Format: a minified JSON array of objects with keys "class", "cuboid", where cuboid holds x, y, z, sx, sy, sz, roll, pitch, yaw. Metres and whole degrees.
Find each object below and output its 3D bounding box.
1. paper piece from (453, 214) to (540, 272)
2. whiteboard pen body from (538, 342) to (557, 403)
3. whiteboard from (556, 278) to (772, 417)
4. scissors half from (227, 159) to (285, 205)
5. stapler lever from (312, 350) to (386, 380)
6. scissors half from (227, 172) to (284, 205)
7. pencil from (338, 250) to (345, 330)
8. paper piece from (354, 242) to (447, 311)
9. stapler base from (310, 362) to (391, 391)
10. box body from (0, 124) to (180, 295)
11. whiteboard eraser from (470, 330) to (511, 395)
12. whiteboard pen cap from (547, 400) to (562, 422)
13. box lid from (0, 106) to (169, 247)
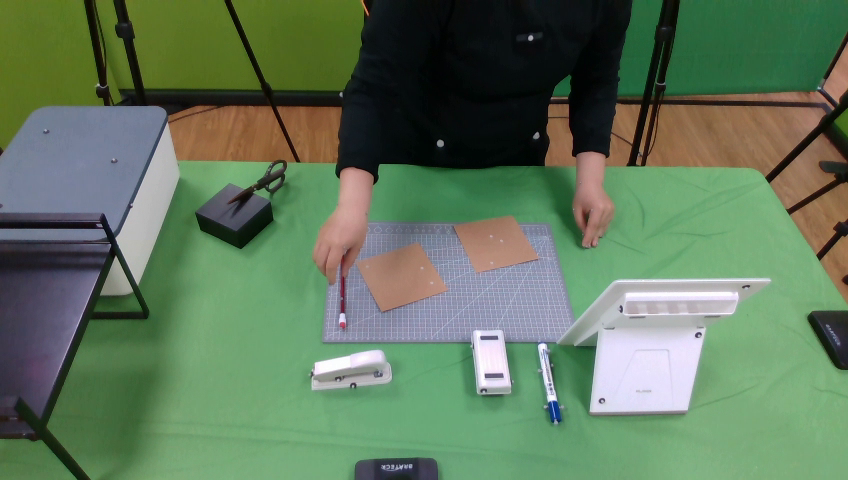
[{"class":"paper piece","cuboid":[0.142,0.003,1.213,0.135,0.004,0.135,-11,47,-14]},{"class":"whiteboard pen body","cuboid":[0.205,0.228,0.997,0.017,0.017,0.140,1,46,-3]},{"class":"whiteboard","cuboid":[0.347,0.174,0.903,0.217,0.306,0.143,1,65,-4]},{"class":"scissors half","cuboid":[-0.336,-0.117,1.218,0.013,0.040,0.175,26,46,13]},{"class":"stapler lever","cuboid":[-0.120,0.199,0.963,0.118,0.040,0.026,-4,44,-8]},{"class":"scissors half","cuboid":[-0.340,-0.101,1.230,0.013,0.040,0.175,22,28,16]},{"class":"pencil","cuboid":[-0.152,0.085,1.107,0.012,0.012,0.192,-2,44,-7]},{"class":"paper piece","cuboid":[-0.045,0.066,1.137,0.136,0.009,0.137,-14,48,-22]},{"class":"stapler base","cuboid":[-0.119,0.215,0.980,0.131,0.024,0.041,-5,44,-7]},{"class":"box body","cuboid":[-0.628,-0.075,1.122,0.254,0.161,0.361,1,46,-4]},{"class":"whiteboard eraser","cuboid":[0.110,0.202,0.998,0.055,0.042,0.112,1,46,-5]},{"class":"whiteboard pen cap","cuboid":[0.205,0.269,0.956,0.018,0.018,0.033,-1,48,-5]},{"class":"box lid","cuboid":[-0.624,-0.125,1.067,0.263,0.015,0.369,0,46,-3]}]
